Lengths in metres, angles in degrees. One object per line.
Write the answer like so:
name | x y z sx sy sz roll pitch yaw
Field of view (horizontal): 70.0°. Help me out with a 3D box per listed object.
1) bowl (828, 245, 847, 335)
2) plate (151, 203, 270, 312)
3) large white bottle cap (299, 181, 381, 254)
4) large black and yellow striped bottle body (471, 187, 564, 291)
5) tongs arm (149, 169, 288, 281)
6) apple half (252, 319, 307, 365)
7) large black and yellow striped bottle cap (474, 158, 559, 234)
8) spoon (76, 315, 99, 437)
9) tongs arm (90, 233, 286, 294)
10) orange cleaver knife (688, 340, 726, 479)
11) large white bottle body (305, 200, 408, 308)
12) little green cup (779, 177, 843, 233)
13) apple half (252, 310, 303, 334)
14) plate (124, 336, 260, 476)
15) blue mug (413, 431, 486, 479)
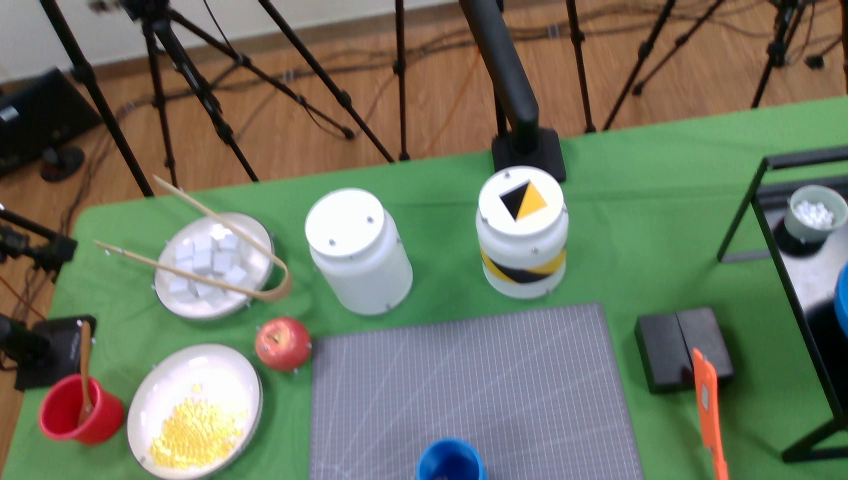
bowl | 0.494 0.070 0.631 0.151 0.077 0.150 -4 60 8
plate | -0.361 0.032 1.039 0.207 0.039 0.206 -4 60 8
large white bottle cap | -0.118 -0.032 0.846 0.114 0.018 0.114 -5 59 8
large black and yellow striped bottle body | 0.139 -0.018 0.893 0.130 0.186 0.129 -5 59 8
tongs arm | -0.362 -0.037 1.043 0.384 0.028 0.028 31 63 27
apple half | -0.215 0.161 0.918 0.081 0.075 0.053 -19 63 -5
large black and yellow striped bottle cap | 0.125 -0.062 0.822 0.115 0.019 0.114 -4 61 7
spoon | -0.506 0.205 0.902 0.041 0.021 0.194 10 107 16
tongs arm | -0.403 0.028 1.011 0.382 0.027 0.050 17 61 21
orange cleaver knife | 0.357 0.234 0.765 0.012 0.077 0.211 -8 90 5
large white bottle body | -0.103 0.010 0.919 0.130 0.186 0.129 -5 59 8
little green cup | 0.458 -0.040 0.722 0.061 0.039 0.061 -5 60 9
apple half | -0.227 0.130 0.937 0.081 0.082 0.032 -21 64 -2
plate | -0.342 0.247 0.910 0.209 0.038 0.207 -4 60 8
blue mug | 0.033 0.311 0.764 0.082 0.107 0.115 -1 60 10
